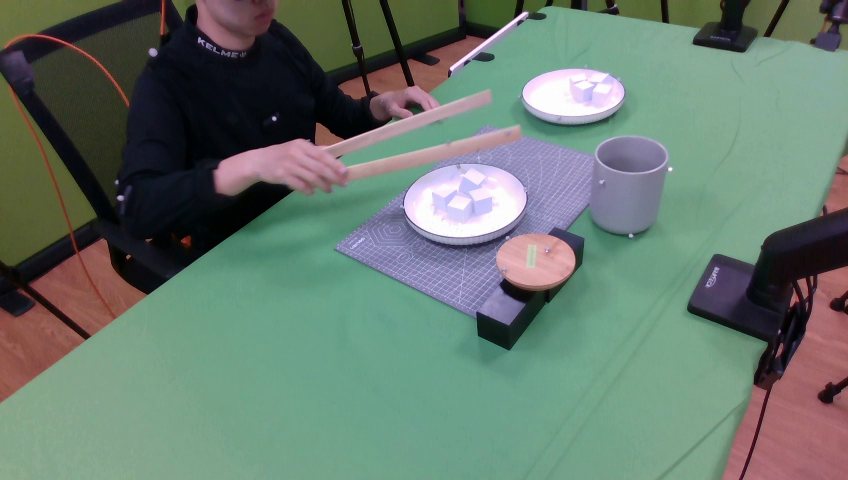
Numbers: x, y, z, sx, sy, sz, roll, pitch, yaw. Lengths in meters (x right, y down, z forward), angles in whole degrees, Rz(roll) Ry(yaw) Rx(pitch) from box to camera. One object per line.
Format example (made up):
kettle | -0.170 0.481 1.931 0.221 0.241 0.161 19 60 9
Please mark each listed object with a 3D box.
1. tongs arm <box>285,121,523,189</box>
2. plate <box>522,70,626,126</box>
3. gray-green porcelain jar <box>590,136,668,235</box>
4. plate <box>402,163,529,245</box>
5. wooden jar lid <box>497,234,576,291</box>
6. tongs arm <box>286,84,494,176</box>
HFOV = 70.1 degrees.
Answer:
tongs arm | -0.032 -0.140 0.971 0.385 0.027 0.050 -15 43 -1
plate | 0.308 -0.290 1.251 0.207 0.039 0.206 -4 40 4
gray-green porcelain jar | 0.314 -0.080 0.937 0.106 0.127 0.105 -4 41 4
plate | 0.069 -0.056 1.008 0.209 0.038 0.208 -4 40 4
wooden jar lid | 0.155 0.032 0.834 0.108 0.021 0.108 -5 40 5
tongs arm | -0.052 -0.188 1.029 0.388 0.028 0.028 -23 48 -10
